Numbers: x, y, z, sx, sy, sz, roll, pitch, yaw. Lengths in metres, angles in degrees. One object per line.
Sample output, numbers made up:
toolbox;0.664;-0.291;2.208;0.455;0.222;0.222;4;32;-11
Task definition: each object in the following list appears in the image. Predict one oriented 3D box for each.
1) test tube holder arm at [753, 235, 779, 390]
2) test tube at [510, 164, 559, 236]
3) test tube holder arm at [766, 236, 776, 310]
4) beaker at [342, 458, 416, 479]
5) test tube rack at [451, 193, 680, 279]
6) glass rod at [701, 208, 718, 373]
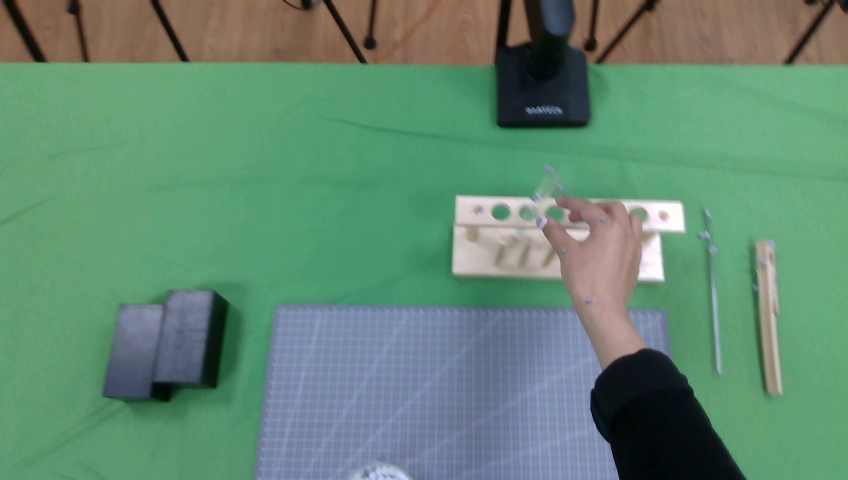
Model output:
test tube holder arm;0.386;0.079;0.683;0.013;0.015;0.177;17;68;-23
test tube;0.114;-0.038;0.645;0.017;0.151;0.017;2;67;-5
test tube holder arm;0.396;0.039;0.701;0.010;0.015;0.087;17;68;-23
beaker;-0.037;0.250;0.584;0.084;0.101;0.073;5;70;2
test tube rack;0.153;-0.003;0.685;0.242;0.086;0.066;2;69;1
glass rod;0.330;0.053;0.702;0.008;0.008;0.198;5;70;2
